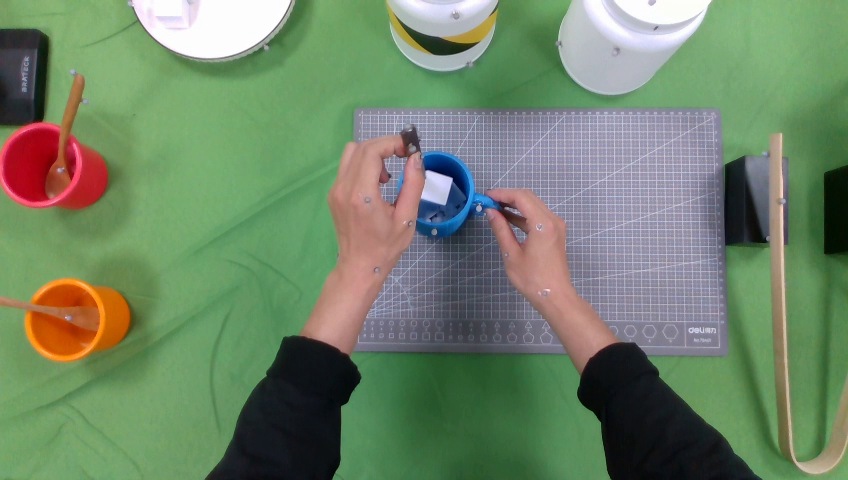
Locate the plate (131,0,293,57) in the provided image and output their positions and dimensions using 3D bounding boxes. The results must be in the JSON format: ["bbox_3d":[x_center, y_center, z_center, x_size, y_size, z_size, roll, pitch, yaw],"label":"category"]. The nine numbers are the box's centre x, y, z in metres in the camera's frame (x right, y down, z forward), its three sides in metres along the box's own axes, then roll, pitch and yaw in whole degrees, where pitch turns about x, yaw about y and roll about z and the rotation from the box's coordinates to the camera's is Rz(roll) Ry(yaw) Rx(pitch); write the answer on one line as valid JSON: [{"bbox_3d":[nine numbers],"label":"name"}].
[{"bbox_3d":[-0.257,-0.323,0.748,0.208,0.039,0.207,0,86,1],"label":"plate"}]

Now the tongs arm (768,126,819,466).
[{"bbox_3d":[0.412,0.067,0.675,0.051,0.026,0.385,-4,98,-2],"label":"tongs arm"}]

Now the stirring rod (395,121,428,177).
[{"bbox_3d":[-0.009,-0.081,0.561,0.014,0.176,0.006,-37,83,1],"label":"stirring rod"}]

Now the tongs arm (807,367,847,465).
[{"bbox_3d":[0.494,0.068,0.675,0.028,0.027,0.388,9,98,-6],"label":"tongs arm"}]

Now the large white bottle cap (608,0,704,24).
[{"bbox_3d":[0.223,-0.264,0.577,0.115,0.018,0.114,0,85,1],"label":"large white bottle cap"}]

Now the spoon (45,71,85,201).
[{"bbox_3d":[-0.404,-0.113,0.683,0.041,0.021,0.194,46,131,7],"label":"spoon"}]

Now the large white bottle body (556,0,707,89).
[{"bbox_3d":[0.225,-0.256,0.661,0.130,0.185,0.130,0,86,1],"label":"large white bottle body"}]

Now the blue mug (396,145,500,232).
[{"bbox_3d":[0.029,-0.051,0.688,0.116,0.106,0.082,12,85,1],"label":"blue mug"}]

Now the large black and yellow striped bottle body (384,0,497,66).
[{"bbox_3d":[0.018,-0.285,0.667,0.131,0.184,0.130,0,85,1],"label":"large black and yellow striped bottle body"}]

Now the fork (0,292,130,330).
[{"bbox_3d":[-0.434,0.070,0.668,0.209,0.018,0.028,22,85,-41],"label":"fork"}]
